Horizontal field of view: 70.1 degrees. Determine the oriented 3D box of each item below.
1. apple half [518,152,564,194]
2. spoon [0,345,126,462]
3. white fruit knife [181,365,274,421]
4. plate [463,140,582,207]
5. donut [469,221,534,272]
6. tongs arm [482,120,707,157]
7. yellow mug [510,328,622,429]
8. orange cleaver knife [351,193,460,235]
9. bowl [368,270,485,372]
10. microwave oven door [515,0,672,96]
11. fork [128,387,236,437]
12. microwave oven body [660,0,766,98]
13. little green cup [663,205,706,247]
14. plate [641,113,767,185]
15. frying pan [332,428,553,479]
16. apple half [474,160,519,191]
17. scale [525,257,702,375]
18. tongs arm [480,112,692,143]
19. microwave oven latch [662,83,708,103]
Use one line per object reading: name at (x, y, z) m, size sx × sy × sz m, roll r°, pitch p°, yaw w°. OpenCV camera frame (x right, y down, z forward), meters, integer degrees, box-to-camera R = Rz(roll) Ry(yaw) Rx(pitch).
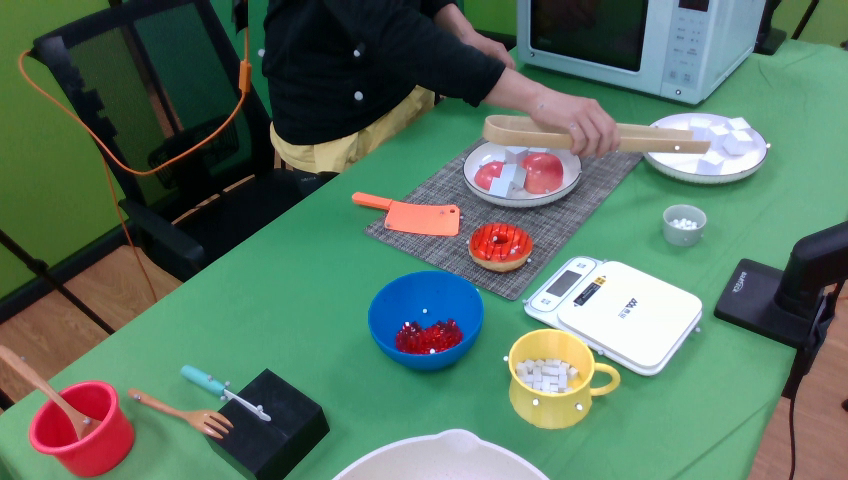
apple half at (0.204, -0.124, 1.048) m, size 0.075 × 0.053 × 0.080 m, roll -7°, pitch 41°, yaw -3°
spoon at (-0.434, 0.192, 0.720) m, size 0.194 × 0.021 × 0.042 m, roll 47°, pitch 53°, yaw -6°
white fruit knife at (-0.245, 0.187, 0.747) m, size 0.205 × 0.027 × 0.016 m, roll 9°, pitch 41°, yaw 40°
plate at (0.173, -0.119, 1.070) m, size 0.209 × 0.038 × 0.208 m, roll -4°, pitch 40°, yaw 4°
donut at (0.118, 0.009, 0.923) m, size 0.099 × 0.048 × 0.098 m, roll -3°, pitch 39°, yaw 3°
tongs arm at (0.278, -0.155, 0.951) m, size 0.389 × 0.028 × 0.028 m, roll 2°, pitch 40°, yaw -16°
yellow mug at (0.168, 0.164, 0.721) m, size 0.130 × 0.064 × 0.099 m, roll 0°, pitch 40°, yaw 8°
orange cleaver knife at (-0.036, -0.044, 1.029) m, size 0.210 × 0.012 × 0.077 m, roll 10°, pitch 48°, yaw 18°
bowl at (0.007, 0.118, 0.791) m, size 0.151 × 0.077 × 0.150 m, roll -4°, pitch 40°, yaw 4°
microwave oven door at (0.343, -0.454, 1.259) m, size 0.353 × 0.245 × 0.039 m, roll 26°, pitch 51°, yaw 33°
fork at (-0.305, 0.207, 0.744) m, size 0.206 × 0.019 × 0.028 m, roll 3°, pitch 41°, yaw 36°
microwave oven body at (0.472, -0.513, 1.317) m, size 0.438 × 0.261 × 0.327 m, roll 26°, pitch 51°, yaw 34°
little green cup at (0.396, -0.020, 0.926) m, size 0.061 × 0.039 × 0.061 m, roll -4°, pitch 40°, yaw 4°
plate at (0.489, -0.157, 1.074) m, size 0.207 × 0.039 × 0.206 m, roll -4°, pitch 40°, yaw 4°
frying pan at (-0.089, 0.306, 0.564) m, size 0.487 × 0.103 × 0.306 m, roll 9°, pitch 41°, yaw 7°
apple half at (0.131, -0.120, 1.068) m, size 0.081 × 0.033 × 0.081 m, roll -4°, pitch 36°, yaw 4°
scale at (0.254, 0.091, 0.821) m, size 0.199 × 0.032 × 0.149 m, roll 28°, pitch 51°, yaw 35°
tongs arm at (0.272, -0.172, 0.974) m, size 0.387 × 0.026 × 0.050 m, roll 4°, pitch 36°, yaw -14°
microwave oven latch at (0.518, -0.296, 1.204) m, size 0.078 × 0.029 × 0.030 m, roll 28°, pitch 52°, yaw 35°
